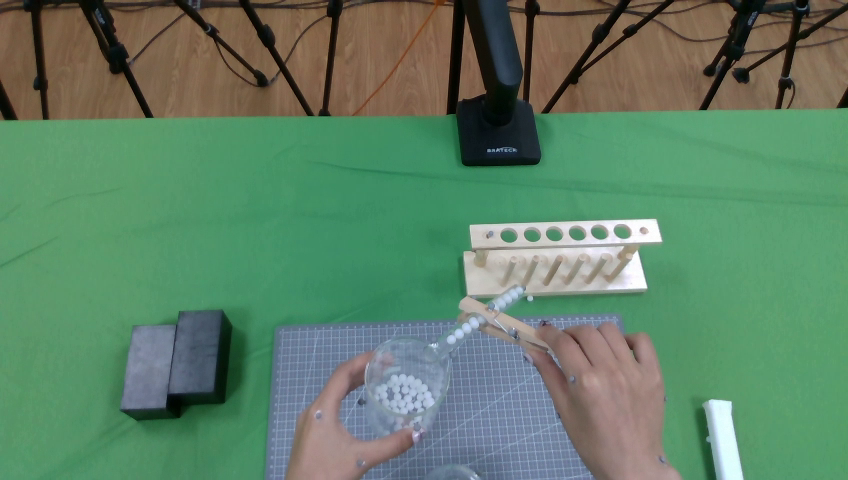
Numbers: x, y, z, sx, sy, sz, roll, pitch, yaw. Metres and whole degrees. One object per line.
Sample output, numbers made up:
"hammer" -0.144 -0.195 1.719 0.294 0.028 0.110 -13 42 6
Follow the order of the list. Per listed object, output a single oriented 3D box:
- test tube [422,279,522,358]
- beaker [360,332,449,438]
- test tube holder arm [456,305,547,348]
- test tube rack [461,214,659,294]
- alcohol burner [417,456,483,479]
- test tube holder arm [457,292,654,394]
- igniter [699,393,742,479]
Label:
"test tube" 0.048 0.067 0.547 0.017 0.017 0.150 43 39 18
"beaker" -0.019 0.137 0.563 0.084 0.101 0.073 -26 65 -22
"test tube holder arm" 0.069 0.076 0.541 0.087 0.010 0.015 17 31 27
"test tube rack" 0.175 0.019 0.792 0.243 0.086 0.066 -2 62 -4
"alcohol burner" 0.029 0.264 0.634 0.078 0.120 0.077 2 60 -3
"test tube holder arm" 0.108 0.086 0.520 0.177 0.013 0.015 23 34 24
"igniter" 0.348 0.311 0.681 0.057 0.025 0.274 9 62 -10
